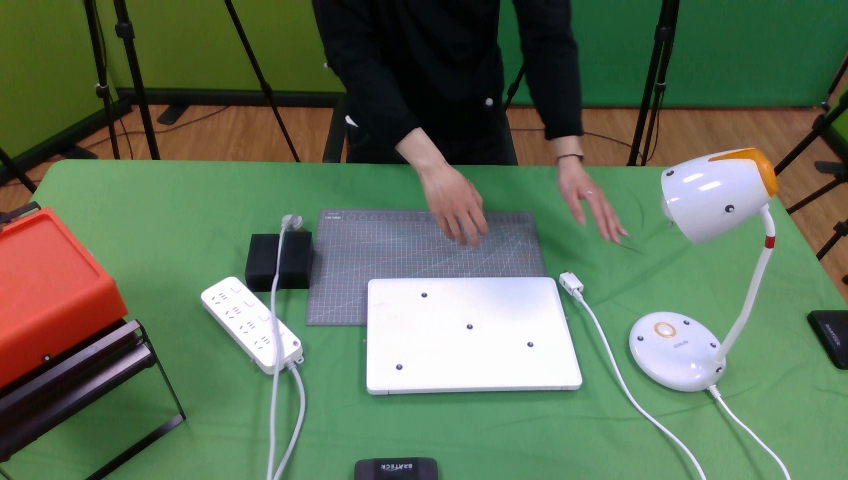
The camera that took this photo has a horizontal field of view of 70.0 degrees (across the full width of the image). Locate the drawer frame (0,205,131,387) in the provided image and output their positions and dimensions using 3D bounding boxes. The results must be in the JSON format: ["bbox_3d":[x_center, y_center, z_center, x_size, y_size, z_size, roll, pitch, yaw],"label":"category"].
[{"bbox_3d":[-0.540,0.075,0.795,0.200,0.083,0.213,36,54,26],"label":"drawer frame"}]

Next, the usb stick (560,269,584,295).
[{"bbox_3d":[0.275,0.077,1.142,0.027,0.021,0.059,-11,39,-14],"label":"usb stick"}]

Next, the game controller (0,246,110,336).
[{"bbox_3d":[-0.511,0.062,0.830,0.097,0.052,0.154,-30,58,-31],"label":"game controller"}]

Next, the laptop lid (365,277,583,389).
[{"bbox_3d":[0.077,0.152,1.046,0.357,0.013,0.240,1,45,-3],"label":"laptop lid"}]

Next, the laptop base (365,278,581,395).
[{"bbox_3d":[0.077,0.162,1.053,0.355,0.023,0.234,0,44,-4],"label":"laptop base"}]

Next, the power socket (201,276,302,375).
[{"bbox_3d":[-0.296,0.142,1.034,0.072,0.033,0.225,-34,58,-30],"label":"power socket"}]

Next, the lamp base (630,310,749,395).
[{"bbox_3d":[0.447,0.142,0.984,0.161,0.181,0.178,-24,55,-24],"label":"lamp base"}]

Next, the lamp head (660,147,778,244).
[{"bbox_3d":[0.389,-0.063,0.784,0.123,0.113,0.112,-22,33,37],"label":"lamp head"}]

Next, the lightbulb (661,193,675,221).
[{"bbox_3d":[0.367,-0.060,0.806,0.060,0.107,0.059,16,62,-32],"label":"lightbulb"}]

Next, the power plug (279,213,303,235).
[{"bbox_3d":[-0.264,-0.022,1.184,0.035,0.053,0.072,3,48,31],"label":"power plug"}]

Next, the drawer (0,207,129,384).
[{"bbox_3d":[-0.539,0.074,0.798,0.193,0.073,0.211,37,55,27],"label":"drawer"}]
